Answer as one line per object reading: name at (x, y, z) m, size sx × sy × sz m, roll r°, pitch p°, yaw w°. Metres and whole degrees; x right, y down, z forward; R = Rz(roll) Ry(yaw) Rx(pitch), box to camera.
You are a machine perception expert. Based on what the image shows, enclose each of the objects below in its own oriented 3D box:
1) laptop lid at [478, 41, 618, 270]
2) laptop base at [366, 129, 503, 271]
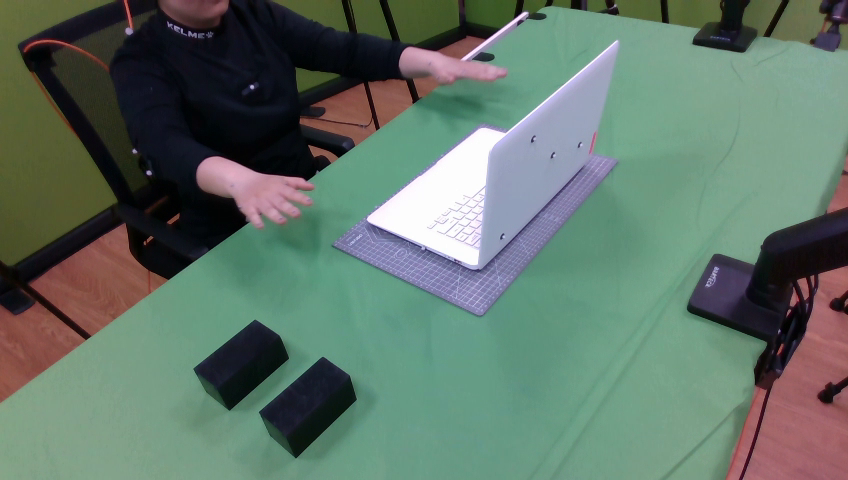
laptop lid at (0.191, -0.130, 0.912) m, size 0.013 × 0.242 × 0.358 m, roll 29°, pitch 50°, yaw 26°
laptop base at (0.099, -0.086, 1.059) m, size 0.233 × 0.023 × 0.355 m, roll 21°, pitch 48°, yaw 34°
